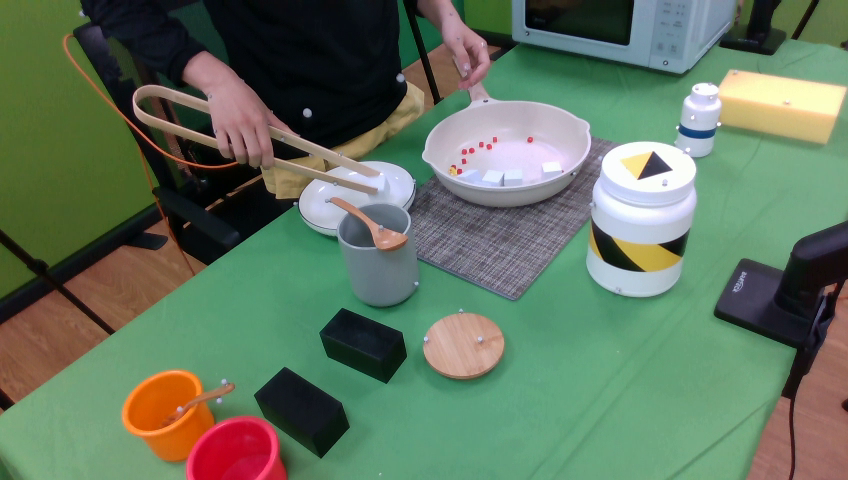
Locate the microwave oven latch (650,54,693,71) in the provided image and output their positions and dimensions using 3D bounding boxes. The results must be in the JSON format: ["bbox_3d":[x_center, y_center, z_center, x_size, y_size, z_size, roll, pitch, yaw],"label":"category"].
[{"bbox_3d":[0.531,-0.386,1.301,0.078,0.029,0.030,26,51,33],"label":"microwave oven latch"}]

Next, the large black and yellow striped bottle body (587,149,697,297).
[{"bbox_3d":[0.298,-0.026,0.835,0.131,0.185,0.130,-4,41,4],"label":"large black and yellow striped bottle body"}]

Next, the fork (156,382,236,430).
[{"bbox_3d":[-0.262,0.189,0.690,0.018,0.206,0.028,49,43,-7],"label":"fork"}]

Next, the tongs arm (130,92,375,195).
[{"bbox_3d":[-0.261,-0.142,0.944,0.389,0.027,0.028,19,66,-15],"label":"tongs arm"}]

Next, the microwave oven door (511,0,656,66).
[{"bbox_3d":[0.351,-0.539,1.349,0.353,0.245,0.039,24,50,31],"label":"microwave oven door"}]

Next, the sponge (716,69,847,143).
[{"bbox_3d":[0.663,-0.256,1.142,0.205,0.061,0.118,19,47,28],"label":"sponge"}]

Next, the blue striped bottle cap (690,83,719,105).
[{"bbox_3d":[0.481,-0.251,1.038,0.044,0.021,0.044,-5,40,5],"label":"blue striped bottle cap"}]

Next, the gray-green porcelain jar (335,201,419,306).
[{"bbox_3d":[-0.064,0.024,0.872,0.106,0.127,0.105,-4,41,4],"label":"gray-green porcelain jar"}]

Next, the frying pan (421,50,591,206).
[{"bbox_3d":[0.127,-0.233,1.155,0.307,0.103,0.484,-11,49,-5],"label":"frying pan"}]

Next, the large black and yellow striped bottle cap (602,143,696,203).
[{"bbox_3d":[0.289,-0.088,0.779,0.115,0.019,0.114,-5,39,4],"label":"large black and yellow striped bottle cap"}]

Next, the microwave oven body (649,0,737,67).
[{"bbox_3d":[0.475,-0.602,1.411,0.438,0.261,0.327,23,50,32],"label":"microwave oven body"}]

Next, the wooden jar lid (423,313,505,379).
[{"bbox_3d":[0.053,0.142,0.800,0.108,0.021,0.108,-5,39,4],"label":"wooden jar lid"}]

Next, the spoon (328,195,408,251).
[{"bbox_3d":[-0.083,-0.029,0.829,0.042,0.022,0.192,-32,43,-21],"label":"spoon"}]

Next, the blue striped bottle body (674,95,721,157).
[{"bbox_3d":[0.486,-0.213,1.071,0.063,0.121,0.063,-4,41,4],"label":"blue striped bottle body"}]

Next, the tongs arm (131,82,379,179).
[{"bbox_3d":[-0.257,-0.163,0.955,0.386,0.026,0.050,22,61,-13],"label":"tongs arm"}]

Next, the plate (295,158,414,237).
[{"bbox_3d":[-0.118,-0.070,1.055,0.207,0.039,0.206,-5,40,5],"label":"plate"}]
